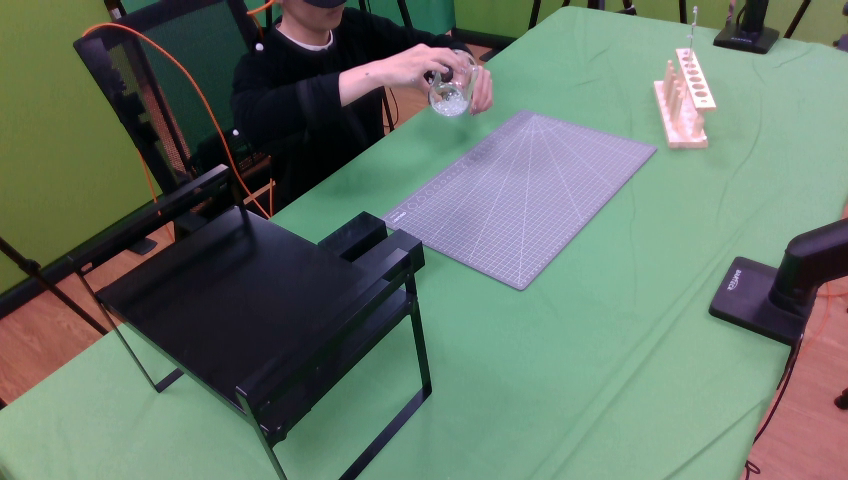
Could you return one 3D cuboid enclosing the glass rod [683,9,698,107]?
[{"bbox_3d":[0.501,-0.336,1.139,0.008,0.201,0.008,-8,42,8],"label":"glass rod"}]

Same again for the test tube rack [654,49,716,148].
[{"bbox_3d":[0.502,-0.281,1.176,0.066,0.085,0.241,2,41,11],"label":"test tube rack"}]

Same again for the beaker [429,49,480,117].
[{"bbox_3d":[0.050,-0.258,1.013,0.074,0.084,0.100,1,45,16],"label":"beaker"}]

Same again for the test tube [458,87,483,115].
[{"bbox_3d":[0.089,-0.260,1.140,0.017,0.017,0.151,8,0,18],"label":"test tube"}]
